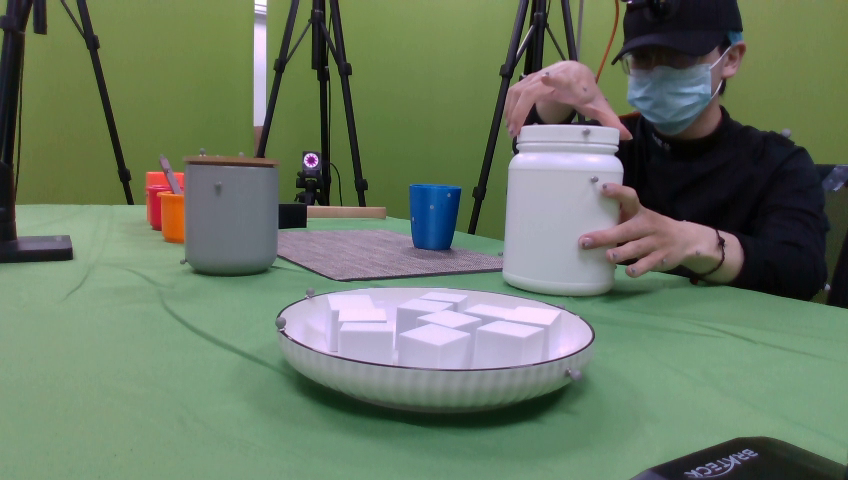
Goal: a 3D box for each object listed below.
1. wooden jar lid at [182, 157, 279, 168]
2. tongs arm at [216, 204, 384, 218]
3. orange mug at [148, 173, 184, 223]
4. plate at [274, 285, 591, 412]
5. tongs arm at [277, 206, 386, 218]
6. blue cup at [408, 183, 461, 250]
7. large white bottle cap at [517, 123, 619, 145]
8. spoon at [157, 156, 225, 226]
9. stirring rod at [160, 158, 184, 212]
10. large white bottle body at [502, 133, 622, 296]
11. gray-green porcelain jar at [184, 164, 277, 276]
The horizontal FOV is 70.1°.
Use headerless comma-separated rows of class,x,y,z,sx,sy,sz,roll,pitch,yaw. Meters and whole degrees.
wooden jar lid,-0.227,-0.086,0.714,0.108,0.020,0.108,1,6,0
tongs arm,-0.288,-0.069,1.435,0.389,0.027,0.028,0,-1,-17
orange mug,-0.490,-0.087,1.222,0.127,0.101,0.083,-9,13,-38
plate,0.005,0.069,0.408,0.208,0.039,0.207,2,7,0
tongs arm,-0.251,-0.063,1.360,0.387,0.026,0.050,-1,3,-31
blue cup,0.015,-0.038,0.970,0.093,0.100,0.092,2,9,0
large white bottle cap,0.165,-0.121,0.695,0.115,0.018,0.115,4,8,0
spoon,-0.425,-0.094,1.118,0.041,0.022,0.194,5,51,29
stirring rod,-0.391,-0.070,0.972,0.014,0.006,0.175,-1,50,-49
large white bottle body,0.161,-0.037,0.707,0.131,0.184,0.130,2,8,0
gray-green porcelain jar,-0.230,-0.025,0.722,0.106,0.126,0.106,3,7,0
